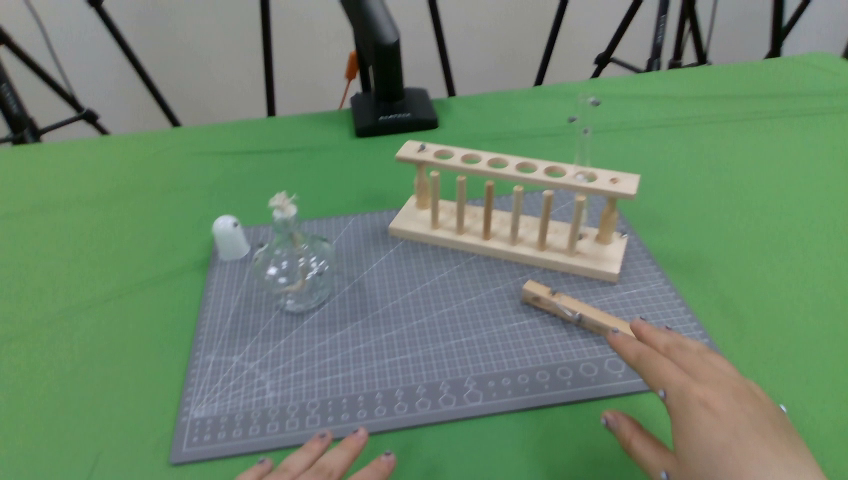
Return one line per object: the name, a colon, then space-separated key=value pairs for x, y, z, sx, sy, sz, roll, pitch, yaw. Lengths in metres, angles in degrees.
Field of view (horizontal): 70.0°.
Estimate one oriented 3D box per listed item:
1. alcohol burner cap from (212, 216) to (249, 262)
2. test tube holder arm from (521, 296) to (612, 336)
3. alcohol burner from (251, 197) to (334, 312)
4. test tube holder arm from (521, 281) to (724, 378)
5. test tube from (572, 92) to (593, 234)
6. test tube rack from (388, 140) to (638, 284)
alcohol burner cap: x=-0.206 y=-0.004 z=0.639 sx=0.034 sy=0.048 sz=0.033 roll=-1 pitch=39 yaw=1
test tube holder arm: x=0.130 y=0.066 z=0.551 sx=0.087 sy=0.010 sz=0.015 roll=17 pitch=48 yaw=31
alcohol burner: x=-0.124 y=0.009 z=0.559 sx=0.078 sy=0.120 sz=0.077 roll=-1 pitch=39 yaw=1
test tube holder arm: x=0.166 y=0.075 z=0.526 sx=0.177 sy=0.013 sz=0.015 roll=22 pitch=50 yaw=27
test tube: x=0.151 y=-0.068 z=0.579 sx=0.017 sy=0.151 sz=0.017 roll=-5 pitch=36 yaw=4
test tube rack: x=0.082 y=-0.033 z=0.619 sx=0.241 sy=0.086 sz=0.066 roll=12 pitch=41 yaw=19
